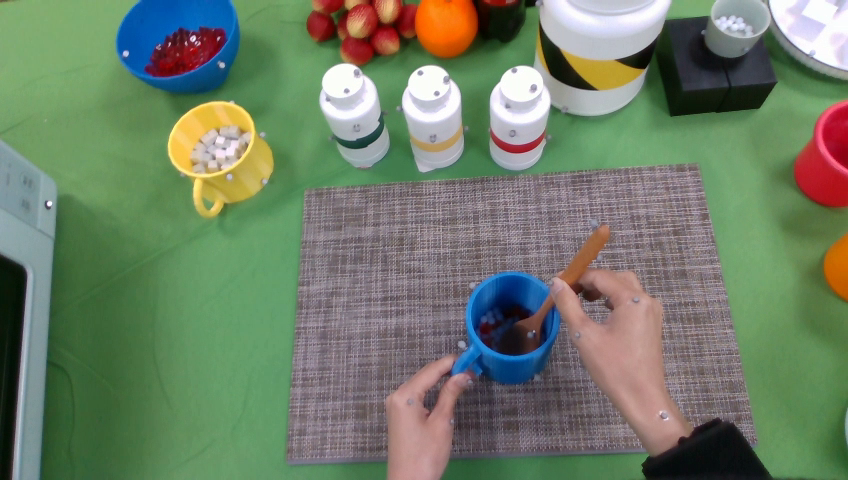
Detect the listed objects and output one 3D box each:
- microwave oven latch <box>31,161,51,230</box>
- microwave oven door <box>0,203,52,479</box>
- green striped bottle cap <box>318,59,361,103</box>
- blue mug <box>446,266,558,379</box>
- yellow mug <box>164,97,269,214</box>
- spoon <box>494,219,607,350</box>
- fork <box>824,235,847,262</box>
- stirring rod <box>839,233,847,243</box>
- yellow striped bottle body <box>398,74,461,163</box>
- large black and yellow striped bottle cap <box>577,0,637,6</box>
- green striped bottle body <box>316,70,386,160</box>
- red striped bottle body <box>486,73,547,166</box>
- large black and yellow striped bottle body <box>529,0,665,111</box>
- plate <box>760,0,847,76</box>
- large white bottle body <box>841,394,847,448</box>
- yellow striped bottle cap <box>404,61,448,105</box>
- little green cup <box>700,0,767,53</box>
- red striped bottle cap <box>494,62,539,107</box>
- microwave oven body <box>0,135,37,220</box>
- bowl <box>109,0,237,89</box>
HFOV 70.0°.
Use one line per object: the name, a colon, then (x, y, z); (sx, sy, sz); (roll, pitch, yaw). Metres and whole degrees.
microwave oven latch: (-0.451, -0.050, 0.699); (0.030, 0.030, 0.078); (-11, 68, 0)
microwave oven door: (-0.422, 0.109, 0.521); (0.039, 0.245, 0.353); (-12, 67, 1)
green striped bottle cap: (-0.088, -0.165, 0.629); (0.044, 0.020, 0.044); (-1, 67, 3)
blue mug: (0.067, 0.091, 0.571); (0.116, 0.106, 0.081); (-38, 69, -10)
yellow mug: (-0.242, -0.092, 0.700); (0.100, 0.064, 0.130); (6, 69, 7)
spoon: (0.108, 0.050, 0.528); (0.022, 0.195, 0.041); (-26, 64, -35)
fork: (0.462, 0.030, 0.538); (0.028, 0.019, 0.205); (-40, 26, -10)
stirring rod: (0.432, 0.030, 0.548); (0.014, 0.006, 0.175); (0, 24, 2)
yellow striped bottle body: (0.007, -0.141, 0.667); (0.063, 0.121, 0.062); (-2, 67, 6)
large black and yellow striped bottle cap: (0.176, -0.274, 0.579); (0.115, 0.019, 0.114); (-2, 67, 5)
green striped bottle body: (-0.082, -0.145, 0.678); (0.063, 0.120, 0.062); (-2, 67, 5)
red striped bottle body: (0.100, -0.136, 0.656); (0.063, 0.120, 0.062); (-3, 66, 7)
large black and yellow striped bottle body: (0.185, -0.243, 0.657); (0.130, 0.185, 0.130); (-2, 67, 5)
plate: (0.504, -0.275, 0.719); (0.209, 0.038, 0.207); (-2, 68, 5)
large white bottle body: (0.440, 0.146, 0.473); (0.130, 0.186, 0.129); (-2, 67, 5)
yellow striped bottle cap: (0.002, -0.161, 0.619); (0.044, 0.019, 0.044); (-2, 69, 5)
little green cup: (0.336, -0.237, 0.664); (0.061, 0.039, 0.061); (-1, 65, 3)
red striped bottle cap: (0.093, -0.157, 0.608); (0.044, 0.018, 0.044); (0, 66, 1)
microwave oven body: (-0.572, 0.103, 0.543); (0.326, 0.262, 0.438); (-12, 68, 0)
bowl: (-0.299, -0.244, 0.761); (0.151, 0.077, 0.150); (-2, 68, 4)
